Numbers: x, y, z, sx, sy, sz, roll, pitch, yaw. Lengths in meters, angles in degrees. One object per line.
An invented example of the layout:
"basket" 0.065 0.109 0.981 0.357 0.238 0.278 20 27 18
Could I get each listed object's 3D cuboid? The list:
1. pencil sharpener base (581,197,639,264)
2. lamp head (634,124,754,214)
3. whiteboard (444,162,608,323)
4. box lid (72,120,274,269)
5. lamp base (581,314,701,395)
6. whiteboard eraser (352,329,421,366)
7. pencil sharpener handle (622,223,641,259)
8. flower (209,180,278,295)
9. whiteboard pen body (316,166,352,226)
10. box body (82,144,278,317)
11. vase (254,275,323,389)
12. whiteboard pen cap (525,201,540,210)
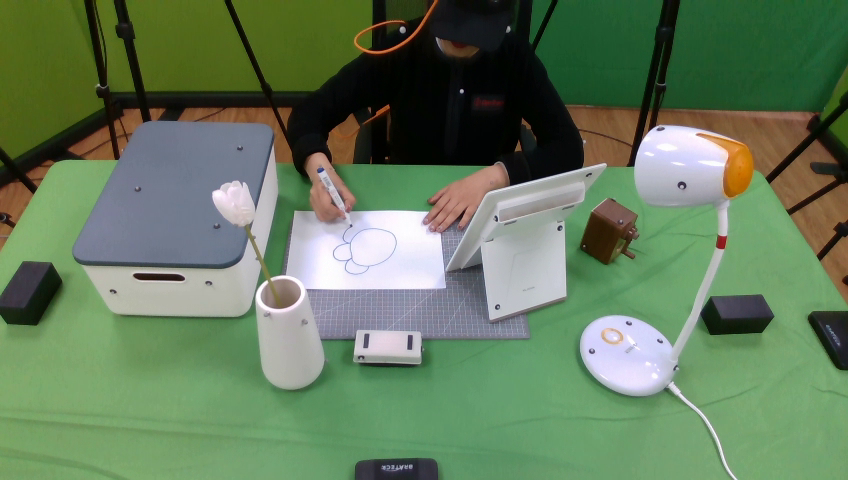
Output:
"pencil sharpener base" 0.362 -0.017 1.179 0.076 0.107 0.061 37 54 27
"lamp head" 0.351 -0.089 0.776 0.112 0.113 0.122 -30 30 -28
"whiteboard" 0.186 0.025 1.029 0.217 0.306 0.143 -14 68 -17
"box lid" -0.417 -0.094 1.056 0.263 0.015 0.369 1 47 -3
"lamp base" 0.361 0.144 0.973 0.178 0.181 0.160 34 53 23
"whiteboard eraser" -0.061 0.179 1.005 0.113 0.042 0.055 3 48 -3
"pencil sharpener handle" 0.397 0.002 1.146 0.030 0.068 0.036 37 46 27
"flower" -0.216 0.075 0.871 0.044 0.363 0.038 -29 36 -19
"whiteboard pen body" -0.174 -0.083 1.188 0.017 0.141 0.017 -19 30 12
"box body" -0.421 -0.041 1.108 0.254 0.161 0.361 2 46 -3
"vase" -0.209 0.143 0.921 0.098 0.201 0.097 1 46 -1
"whiteboard pen cap" 0.230 -0.074 1.289 0.033 0.018 0.018 5 46 4
